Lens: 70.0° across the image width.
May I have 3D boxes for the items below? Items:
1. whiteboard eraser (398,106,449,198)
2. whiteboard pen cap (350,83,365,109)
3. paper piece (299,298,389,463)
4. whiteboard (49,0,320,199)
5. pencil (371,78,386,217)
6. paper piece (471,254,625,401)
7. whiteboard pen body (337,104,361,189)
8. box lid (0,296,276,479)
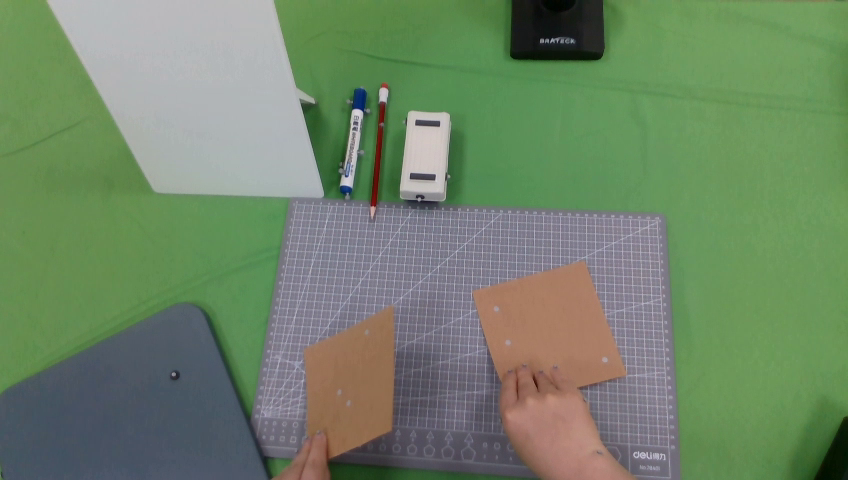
[{"bbox_3d":[0.000,-0.107,0.733,0.055,0.042,0.112,2,71,6],"label":"whiteboard eraser"},{"bbox_3d":[-0.086,-0.184,0.778,0.018,0.018,0.033,2,70,5],"label":"whiteboard pen cap"},{"bbox_3d":[-0.083,0.141,0.612,0.135,0.004,0.134,-32,46,33],"label":"paper piece"},{"bbox_3d":[-0.233,-0.205,0.676,0.217,0.308,0.142,3,51,5],"label":"whiteboard"},{"bbox_3d":[-0.058,-0.118,0.757,0.012,0.012,0.193,1,71,4],"label":"pencil"},{"bbox_3d":[0.133,0.094,0.668,0.136,0.009,0.137,-15,68,0],"label":"paper piece"},{"bbox_3d":[-0.092,-0.129,0.760,0.017,0.017,0.140,4,71,5],"label":"whiteboard pen body"},{"bbox_3d":[-0.297,0.262,0.637,0.263,0.015,0.368,-27,71,-6],"label":"box lid"}]
